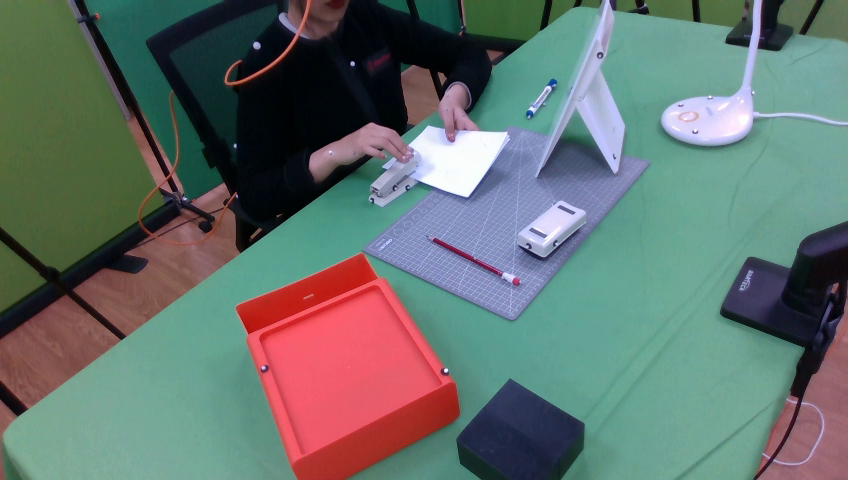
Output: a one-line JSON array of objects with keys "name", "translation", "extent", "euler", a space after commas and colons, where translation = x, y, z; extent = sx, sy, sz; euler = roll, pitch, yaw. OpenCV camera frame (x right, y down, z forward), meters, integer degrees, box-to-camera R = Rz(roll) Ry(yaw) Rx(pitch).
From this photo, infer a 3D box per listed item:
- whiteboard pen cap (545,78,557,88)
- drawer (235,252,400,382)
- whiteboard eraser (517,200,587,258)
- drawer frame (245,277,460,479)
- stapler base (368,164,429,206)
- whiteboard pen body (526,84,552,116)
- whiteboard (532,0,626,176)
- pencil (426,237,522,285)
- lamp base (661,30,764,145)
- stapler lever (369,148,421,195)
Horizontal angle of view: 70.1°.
[{"name": "whiteboard pen cap", "translation": [0.280, -0.344, 1.335], "extent": [0.018, 0.018, 0.033], "euler": [15, 45, 26]}, {"name": "drawer", "translation": [-0.125, 0.132, 0.804], "extent": [0.195, 0.073, 0.210], "euler": [-23, 42, -17]}, {"name": "whiteboard eraser", "translation": [0.201, -0.016, 0.943], "extent": [0.113, 0.042, 0.055], "euler": [-37, 46, -29]}, {"name": "drawer frame", "translation": [-0.093, 0.167, 0.755], "extent": [0.202, 0.083, 0.211], "euler": [-23, 43, -17]}, {"name": "stapler base", "translation": [-0.047, -0.110, 1.119], "extent": [0.041, 0.024, 0.131], "euler": [26, 53, 37]}, {"name": "whiteboard pen body", "translation": [0.251, -0.305, 1.298], "extent": [0.017, 0.017, 0.141], "euler": [15, 45, 26]}, {"name": "whiteboard", "translation": [0.321, -0.258, 1.050], "extent": [0.144, 0.306, 0.217], "euler": [22, 45, 5]}, {"name": "pencil", "translation": [0.072, 0.029, 0.941], "extent": [0.192, 0.012, 0.012], "euler": [26, 52, 37]}, {"name": "lamp base", "translation": [0.535, -0.287, 1.096], "extent": [0.179, 0.181, 0.159], "euler": [-10, 40, -4]}, {"name": "stapler lever", "translation": [-0.052, -0.127, 1.102], "extent": [0.026, 0.040, 0.118], "euler": [26, 52, 38]}]
